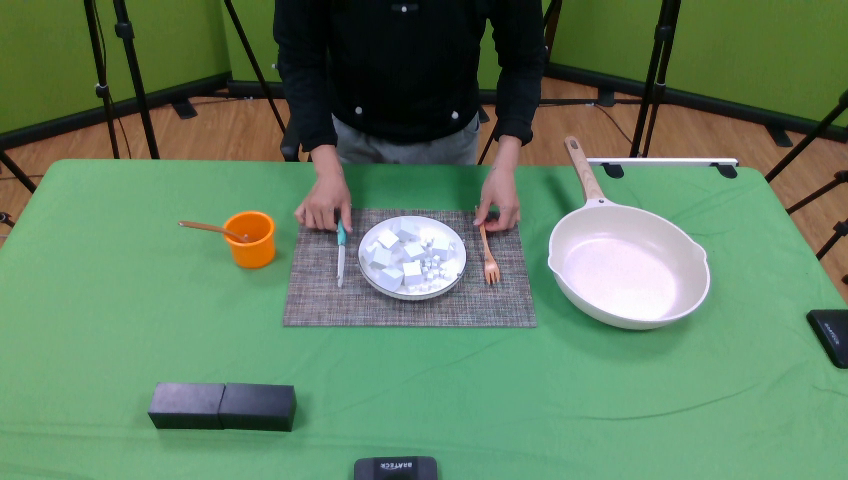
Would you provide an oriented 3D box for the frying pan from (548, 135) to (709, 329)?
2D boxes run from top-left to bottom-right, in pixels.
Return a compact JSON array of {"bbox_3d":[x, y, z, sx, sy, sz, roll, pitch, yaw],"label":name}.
[{"bbox_3d":[0.360,-0.033,1.200,0.307,0.103,0.484,-4,55,-9],"label":"frying pan"}]

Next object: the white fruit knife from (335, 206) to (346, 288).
[{"bbox_3d":[-0.161,0.008,1.167,0.016,0.027,0.206,-18,48,15],"label":"white fruit knife"}]

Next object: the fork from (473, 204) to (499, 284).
[{"bbox_3d":[0.119,0.005,1.191,0.028,0.019,0.206,-12,52,5],"label":"fork"}]

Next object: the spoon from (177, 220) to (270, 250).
[{"bbox_3d":[-0.358,-0.012,1.093,0.021,0.195,0.041,-52,54,10],"label":"spoon"}]

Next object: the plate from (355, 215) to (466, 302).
[{"bbox_3d":[-0.025,0.038,1.144,0.208,0.039,0.206,2,46,-2],"label":"plate"}]
